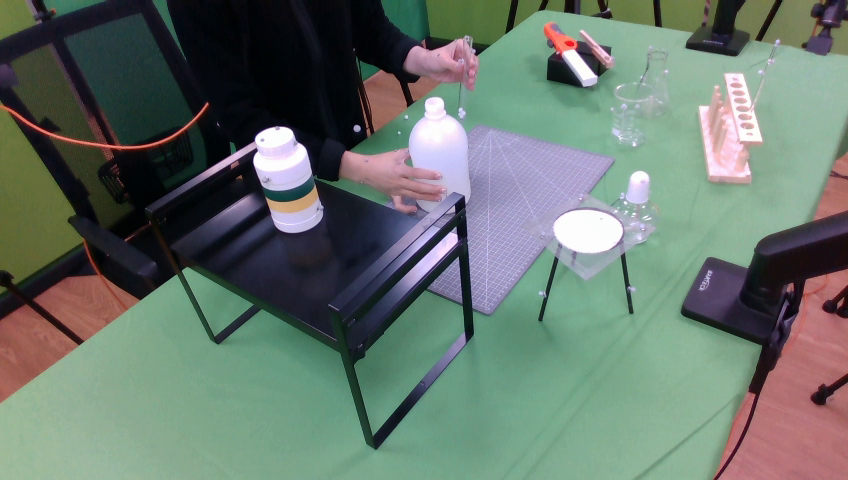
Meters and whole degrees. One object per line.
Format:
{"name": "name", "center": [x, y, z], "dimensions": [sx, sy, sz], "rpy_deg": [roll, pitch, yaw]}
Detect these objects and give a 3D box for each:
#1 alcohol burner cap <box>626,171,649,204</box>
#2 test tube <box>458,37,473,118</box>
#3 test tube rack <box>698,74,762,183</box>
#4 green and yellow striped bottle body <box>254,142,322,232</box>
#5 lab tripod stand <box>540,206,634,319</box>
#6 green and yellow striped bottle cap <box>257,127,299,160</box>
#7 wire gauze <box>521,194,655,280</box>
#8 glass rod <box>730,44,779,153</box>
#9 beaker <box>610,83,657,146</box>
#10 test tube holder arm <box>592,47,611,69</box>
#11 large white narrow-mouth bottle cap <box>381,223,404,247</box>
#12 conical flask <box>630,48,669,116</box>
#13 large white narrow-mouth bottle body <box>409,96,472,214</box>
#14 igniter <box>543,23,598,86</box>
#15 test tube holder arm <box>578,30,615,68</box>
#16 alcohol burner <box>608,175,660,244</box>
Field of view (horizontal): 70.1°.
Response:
{"name": "alcohol burner cap", "center": [0.320, -0.081, 0.900], "dimensions": [0.034, 0.048, 0.033], "rpy_deg": [-4, 42, 4]}
{"name": "test tube", "center": [0.071, -0.278, 1.049], "dimensions": [0.017, 0.150, 0.017], "rpy_deg": [2, 42, -1]}
{"name": "test tube rack", "center": [0.547, -0.208, 1.095], "dimensions": [0.066, 0.085, 0.242], "rpy_deg": [5, 42, 15]}
{"name": "green and yellow striped bottle body", "center": [-0.165, -0.073, 0.732], "dimensions": [0.063, 0.120, 0.063], "rpy_deg": [-4, 41, 4]}
{"name": "lab tripod stand", "center": [0.217, 0.034, 0.821], "dimensions": [0.148, 0.132, 0.147], "rpy_deg": [-4, 42, 4]}
{"name": "green and yellow striped bottle cap", "center": [-0.169, -0.112, 0.698], "dimensions": [0.045, 0.020, 0.045], "rpy_deg": [-5, 40, 5]}
{"name": "wire gauze", "center": [0.207, -0.012, 0.772], "dimensions": [0.122, 0.011, 0.124], "rpy_deg": [-28, 44, -20]}
{"name": "glass rod", "center": [0.555, -0.234, 1.021], "dimensions": [0.008, 0.200, 0.008], "rpy_deg": [2, 40, -1]}
{"name": "beaker", "center": [0.388, -0.235, 1.138], "dimensions": [0.074, 0.101, 0.083], "rpy_deg": [-31, 45, -25]}
{"name": "test tube holder arm", "center": [0.385, -0.398, 1.317], "dimensions": [0.010, 0.015, 0.087], "rpy_deg": [-11, 41, -2]}
{"name": "large white narrow-mouth bottle cap", "center": [-0.052, -0.009, 0.992], "dimensions": [0.038, 0.024, 0.037], "rpy_deg": [-5, 39, 4]}
{"name": "conical flask", "center": [0.457, -0.317, 1.205], "dimensions": [0.075, 0.122, 0.075], "rpy_deg": [-4, 41, 4]}
{"name": "large white narrow-mouth bottle body", "center": [0.026, -0.145, 1.008], "dimensions": [0.102, 0.195, 0.101], "rpy_deg": [-5, 39, 4]}
{"name": "igniter", "center": [0.320, -0.419, 1.345], "dimensions": [0.057, 0.025, 0.274], "rpy_deg": [-12, 44, -3]}
{"name": "test tube holder arm", "center": [0.383, -0.428, 1.351], "dimensions": [0.013, 0.015, 0.177], "rpy_deg": [-12, 41, -3]}
{"name": "alcohol burner", "center": [0.322, -0.053, 0.924], "dimensions": [0.078, 0.119, 0.077], "rpy_deg": [-4, 43, 4]}
